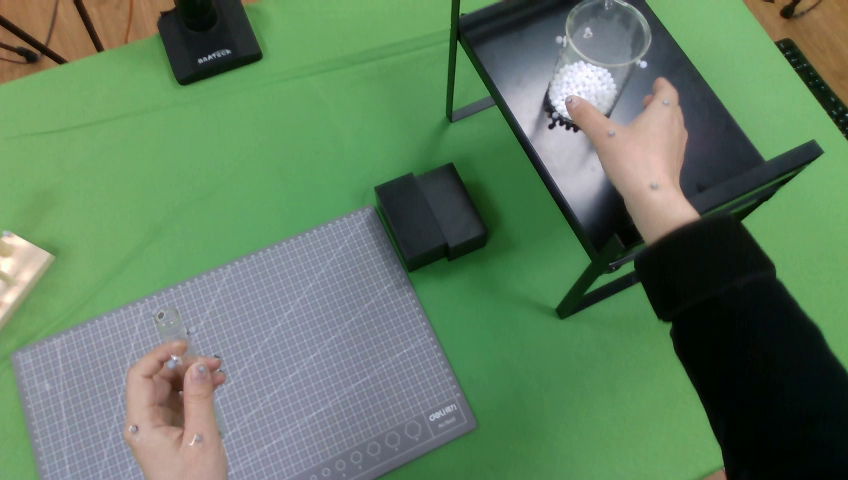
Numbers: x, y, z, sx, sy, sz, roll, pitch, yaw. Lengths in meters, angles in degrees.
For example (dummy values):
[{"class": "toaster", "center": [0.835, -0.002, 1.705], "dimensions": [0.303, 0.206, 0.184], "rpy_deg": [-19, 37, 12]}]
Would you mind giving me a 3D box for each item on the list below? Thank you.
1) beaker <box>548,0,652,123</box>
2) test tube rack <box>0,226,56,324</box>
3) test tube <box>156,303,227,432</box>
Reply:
[{"class": "beaker", "center": [0.160, -0.166, 0.570], "dimensions": [0.074, 0.101, 0.083], "rpy_deg": [8, 69, 2]}, {"class": "test tube rack", "center": [-0.531, 0.086, 0.663], "dimensions": [0.066, 0.086, 0.241], "rpy_deg": [26, 71, 9]}, {"class": "test tube", "center": [-0.170, 0.101, 0.452], "dimensions": [0.017, 0.151, 0.017], "rpy_deg": [0, 43, 0]}]
